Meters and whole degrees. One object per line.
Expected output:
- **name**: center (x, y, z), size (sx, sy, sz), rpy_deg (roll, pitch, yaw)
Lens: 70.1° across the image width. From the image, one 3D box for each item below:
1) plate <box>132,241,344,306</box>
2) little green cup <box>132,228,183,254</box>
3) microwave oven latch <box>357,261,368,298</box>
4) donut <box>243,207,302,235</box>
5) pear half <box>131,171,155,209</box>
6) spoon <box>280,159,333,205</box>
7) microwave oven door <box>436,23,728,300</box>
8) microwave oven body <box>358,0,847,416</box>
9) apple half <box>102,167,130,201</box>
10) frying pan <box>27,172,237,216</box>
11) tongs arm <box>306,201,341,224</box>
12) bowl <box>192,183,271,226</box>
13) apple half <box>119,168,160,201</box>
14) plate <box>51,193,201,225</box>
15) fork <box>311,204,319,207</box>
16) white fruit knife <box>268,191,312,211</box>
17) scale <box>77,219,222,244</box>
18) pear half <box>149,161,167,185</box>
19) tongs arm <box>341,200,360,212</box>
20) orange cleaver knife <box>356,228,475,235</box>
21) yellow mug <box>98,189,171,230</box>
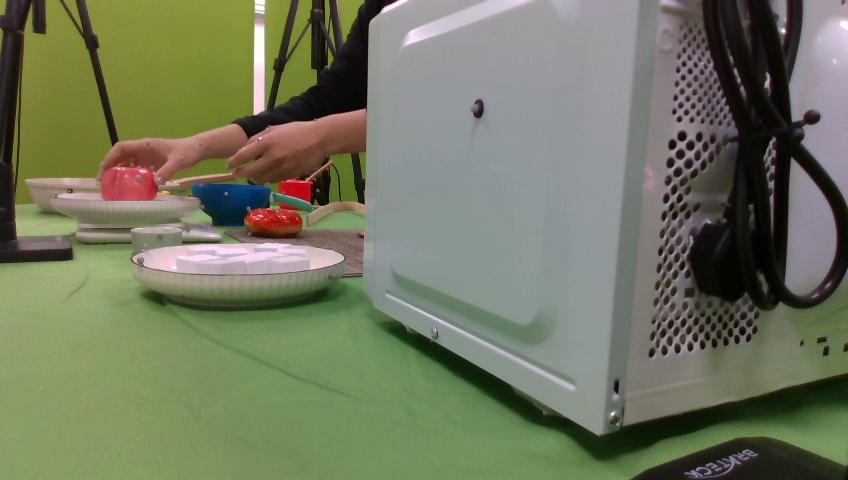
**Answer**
- **plate**: center (-0.187, 0.033, 0.625), size (0.208, 0.039, 0.207), rpy_deg (2, 7, 0)
- **little green cup**: center (-0.342, 0.006, 0.779), size (0.061, 0.038, 0.061), rpy_deg (2, 8, 0)
- **microwave oven latch**: center (-0.019, 0.033, 0.530), size (0.079, 0.029, 0.030), rpy_deg (-1, 7, -26)
- **donut**: center (-0.261, -0.032, 1.043), size (0.099, 0.048, 0.099), rpy_deg (4, 10, 0)
- **pear half**: center (-0.638, -0.113, 1.361), size (0.031, 0.088, 0.070), rpy_deg (5, 11, 4)
- **spoon**: center (-0.316, -0.159, 1.640), size (0.194, 0.022, 0.041), rpy_deg (-49, 32, -20)
- **microwave oven door**: center (0.180, -0.073, 0.621), size (0.358, 0.243, 0.039), rpy_deg (-2, 9, -29)
- **microwave oven body**: center (0.211, -0.047, 0.474), size (0.444, 0.260, 0.324), rpy_deg (-1, 7, -28)
- **apple half**: center (-0.471, -0.077, 0.949), size (0.053, 0.074, 0.081), rpy_deg (1, 10, 15)
- **frying pan**: center (-0.624, -0.118, 1.387), size (0.305, 0.102, 0.490), rpy_deg (8, 17, 32)
- **tongs arm**: center (-0.234, -0.068, 1.414), size (0.028, 0.028, 0.387), rpy_deg (-5, 7, 1)
- **bowl**: center (-0.382, -0.070, 1.202), size (0.151, 0.077, 0.151), rpy_deg (3, 7, 0)
- **apple half**: center (-0.434, -0.076, 0.939), size (0.033, 0.081, 0.081), rpy_deg (1, 7, 15)
- **plate**: center (-0.460, -0.050, 0.945), size (0.209, 0.038, 0.209), rpy_deg (2, 7, 0)
- **fork**: center (-0.356, -0.105, 1.526), size (0.208, 0.018, 0.028), rpy_deg (16, -5, -41)
- **white fruit knife**: center (-0.364, -0.105, 1.464), size (0.208, 0.027, 0.016), rpy_deg (15, 0, -34)
- **scale**: center (-0.434, -0.018, 0.963), size (0.202, 0.031, 0.148), rpy_deg (-1, 8, -27)
- **pear half**: center (-0.602, -0.120, 1.354), size (0.056, 0.110, 0.076), rpy_deg (4, 11, 6)
- **tongs arm**: center (-0.149, -0.069, 1.429), size (0.051, 0.026, 0.383), rpy_deg (-4, 8, -14)
- **orange cleaver knife**: center (-0.016, -0.015, 1.080), size (0.211, 0.012, 0.077), rpy_deg (0, 1, -2)
- **yellow mug**: center (-0.519, -0.055, 1.080), size (0.099, 0.064, 0.131), rpy_deg (7, 10, 26)
